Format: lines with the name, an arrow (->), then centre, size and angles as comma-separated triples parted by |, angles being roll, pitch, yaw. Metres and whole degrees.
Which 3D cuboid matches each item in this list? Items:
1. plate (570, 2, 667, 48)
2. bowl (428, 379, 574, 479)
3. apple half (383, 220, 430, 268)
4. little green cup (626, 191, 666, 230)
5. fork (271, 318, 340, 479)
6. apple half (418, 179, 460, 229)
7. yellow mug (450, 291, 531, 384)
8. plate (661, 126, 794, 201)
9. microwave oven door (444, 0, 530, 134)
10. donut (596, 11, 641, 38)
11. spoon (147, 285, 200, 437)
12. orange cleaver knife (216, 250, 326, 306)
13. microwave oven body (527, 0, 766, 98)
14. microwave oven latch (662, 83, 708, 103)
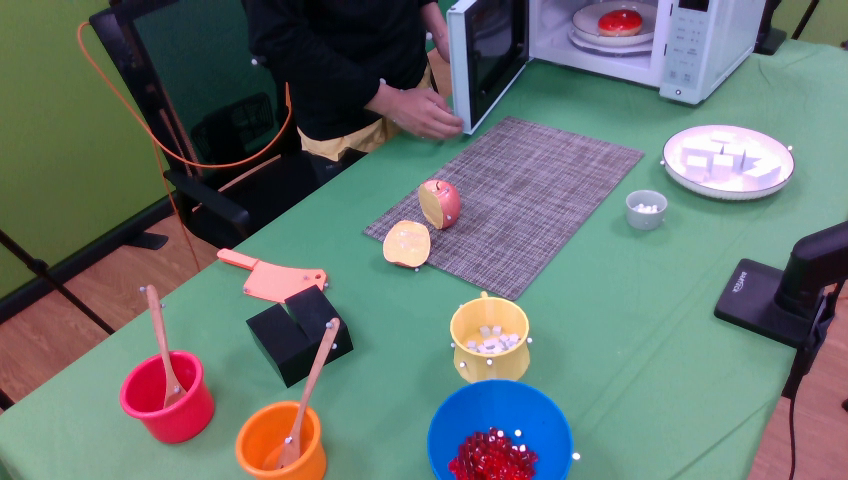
plate -> 0.437, -0.484, 1.369 | 0.209, 0.038, 0.208 | -5, 41, 4
bowl -> 0.082, 0.233, 0.644 | 0.151, 0.077, 0.150 | -4, 39, 4
apple half -> -0.022, 0.009, 0.948 | 0.081, 0.033, 0.081 | -4, 73, 13
little green cup -> 0.352, -0.046, 0.963 | 0.061, 0.039, 0.061 | -4, 40, 4
fork -> -0.132, 0.186, 0.676 | 0.028, 0.019, 0.207 | 18, 90, 28
apple half -> 0.032, -0.062, 0.998 | 0.053, 0.075, 0.080 | -23, 39, -23
yellow mug -> 0.085, 0.120, 0.786 | 0.100, 0.064, 0.130 | -7, 39, 1
plate -> 0.513, -0.128, 1.035 | 0.207, 0.039, 0.206 | -4, 40, 4
microwave oven door -> 0.140, -0.413, 1.242 | 0.039, 0.245, 0.356 | 14, 45, 24
donut -> 0.433, -0.479, 1.347 | 0.099, 0.048, 0.098 | -6, 39, 5
spoon -> -0.319, 0.148, 0.754 | 0.042, 0.021, 0.193 | -15, 85, -10
orange cleaver knife -> -0.248, 0.058, 0.945 | 0.210, 0.012, 0.077 | 12, 49, 20
microwave oven body -> 0.472, -0.513, 1.317 | 0.438, 0.261, 0.327 | 25, 51, 34
microwave oven latch -> 0.517, -0.296, 1.204 | 0.078, 0.029, 0.030 | 27, 52, 35
